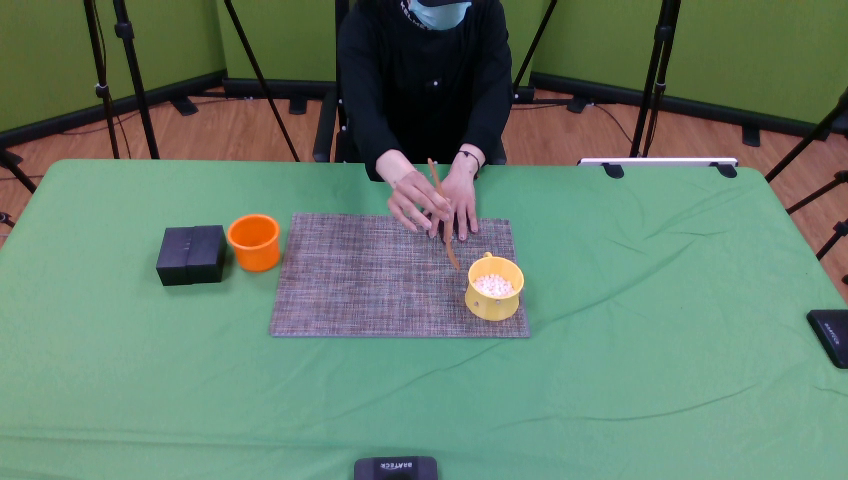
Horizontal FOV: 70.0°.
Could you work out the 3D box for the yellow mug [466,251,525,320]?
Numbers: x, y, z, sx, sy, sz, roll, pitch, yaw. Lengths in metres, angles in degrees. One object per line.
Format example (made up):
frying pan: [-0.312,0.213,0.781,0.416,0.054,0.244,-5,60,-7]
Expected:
yellow mug: [0.125,0.074,1.096,0.100,0.064,0.130,-4,45,-7]

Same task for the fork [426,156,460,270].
fork: [0.034,-0.042,1.019,0.018,0.208,0.028,-8,23,12]
